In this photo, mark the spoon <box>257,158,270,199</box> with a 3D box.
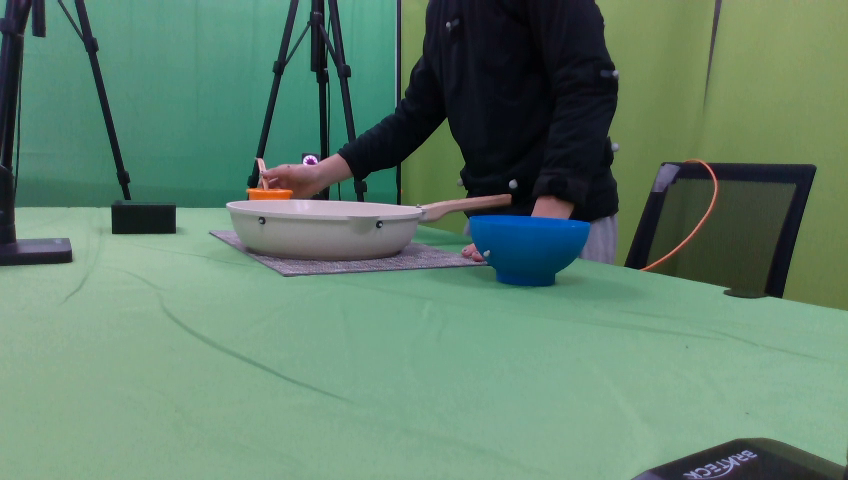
[{"bbox_3d":[-0.332,-0.107,1.269,0.042,0.021,0.193,0,53,-24],"label":"spoon"}]

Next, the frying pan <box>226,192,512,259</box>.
[{"bbox_3d":[-0.058,-0.041,0.975,0.490,0.102,0.305,-11,13,-26],"label":"frying pan"}]

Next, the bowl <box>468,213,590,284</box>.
[{"bbox_3d":[0.128,0.011,0.755,0.151,0.077,0.151,2,7,0],"label":"bowl"}]

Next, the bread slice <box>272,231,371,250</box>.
[{"bbox_3d":[-0.148,0.001,0.929,0.133,0.018,0.107,5,8,38],"label":"bread slice"}]
